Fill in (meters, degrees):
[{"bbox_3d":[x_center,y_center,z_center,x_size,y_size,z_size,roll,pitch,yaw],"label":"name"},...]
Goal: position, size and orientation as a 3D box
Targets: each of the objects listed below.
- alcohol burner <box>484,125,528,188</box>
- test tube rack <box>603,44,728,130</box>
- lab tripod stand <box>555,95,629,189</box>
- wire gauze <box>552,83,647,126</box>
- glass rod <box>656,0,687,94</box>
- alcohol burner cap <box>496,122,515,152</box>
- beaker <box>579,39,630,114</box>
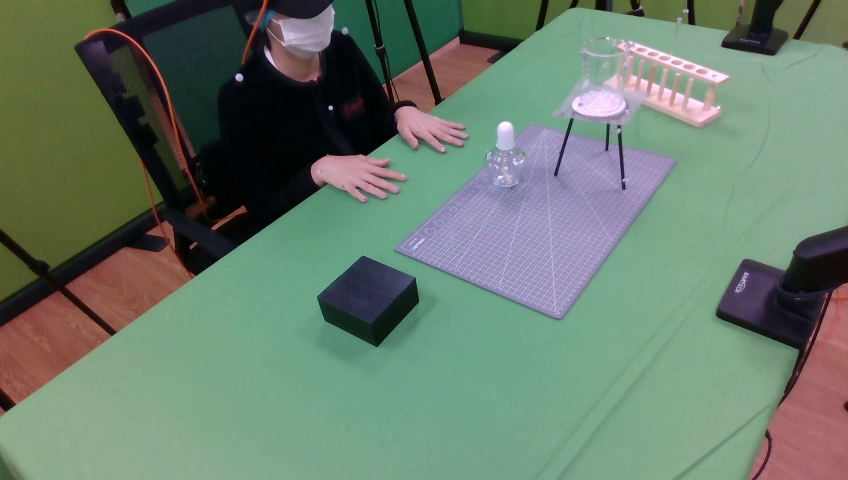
[{"bbox_3d":[0.144,-0.152,1.059,0.078,0.119,0.077,-3,41,3],"label":"alcohol burner"},{"bbox_3d":[0.480,-0.316,1.227,0.067,0.085,0.240,-28,44,-22],"label":"test tube rack"},{"bbox_3d":[0.300,-0.174,1.045,0.148,0.132,0.147,-5,38,5],"label":"lab tripod stand"},{"bbox_3d":[0.293,-0.224,1.004,0.120,0.011,0.125,19,43,26],"label":"wire gauze"},{"bbox_3d":[0.491,-0.381,1.199,0.008,0.200,0.008,1,41,0],"label":"glass rod"},{"bbox_3d":[0.139,-0.179,1.037,0.034,0.048,0.033,-4,44,4],"label":"alcohol burner cap"},{"bbox_3d":[0.289,-0.263,0.975,0.073,0.101,0.084,17,45,27],"label":"beaker"}]
